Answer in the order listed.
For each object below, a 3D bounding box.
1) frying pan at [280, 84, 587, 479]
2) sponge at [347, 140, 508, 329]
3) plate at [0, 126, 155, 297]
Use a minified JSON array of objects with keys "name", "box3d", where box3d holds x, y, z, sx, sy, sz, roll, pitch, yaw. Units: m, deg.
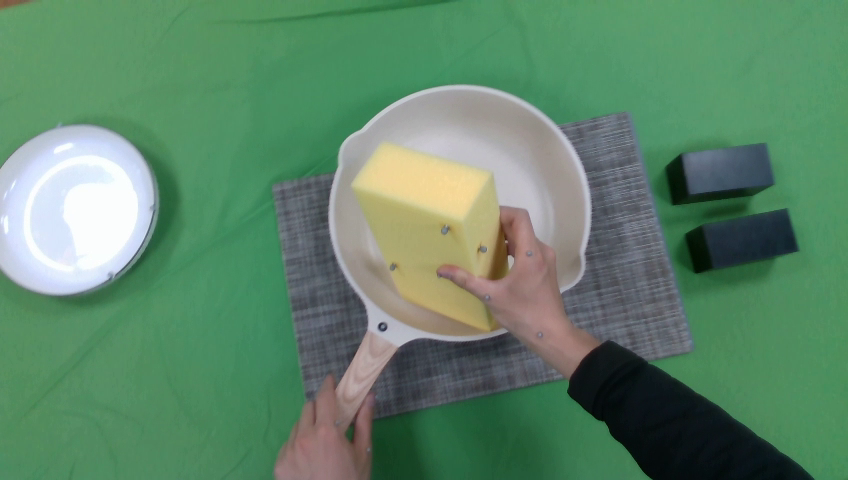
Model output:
[{"name":"frying pan","box3d":[-0.017,0.053,0.671,0.306,0.103,0.486,30,73,7]},{"name":"sponge","box3d":[0.013,0.003,0.617,0.117,0.209,0.060,18,61,25]},{"name":"plate","box3d":[-0.424,-0.033,0.730,0.208,0.039,0.207,0,80,0]}]
